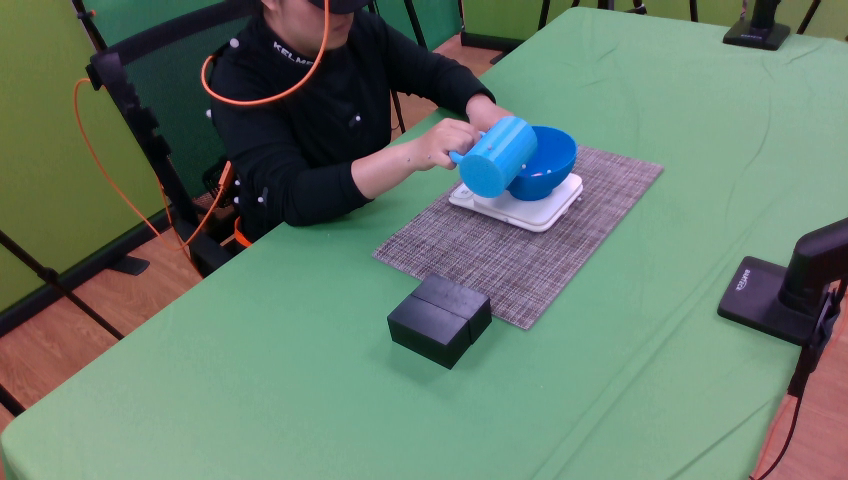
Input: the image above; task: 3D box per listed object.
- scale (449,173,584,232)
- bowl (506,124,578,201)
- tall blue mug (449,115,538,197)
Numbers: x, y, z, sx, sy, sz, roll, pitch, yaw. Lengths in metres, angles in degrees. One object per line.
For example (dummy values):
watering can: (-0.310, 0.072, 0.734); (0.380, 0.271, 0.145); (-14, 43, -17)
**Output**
scale: (0.157, -0.085, 1.040); (0.199, 0.032, 0.149); (22, 49, 33)
bowl: (0.176, -0.117, 0.991); (0.151, 0.077, 0.150); (-6, 41, 5)
tall blue mug: (0.098, -0.133, 0.890); (0.107, 0.077, 0.108); (38, 54, 4)
